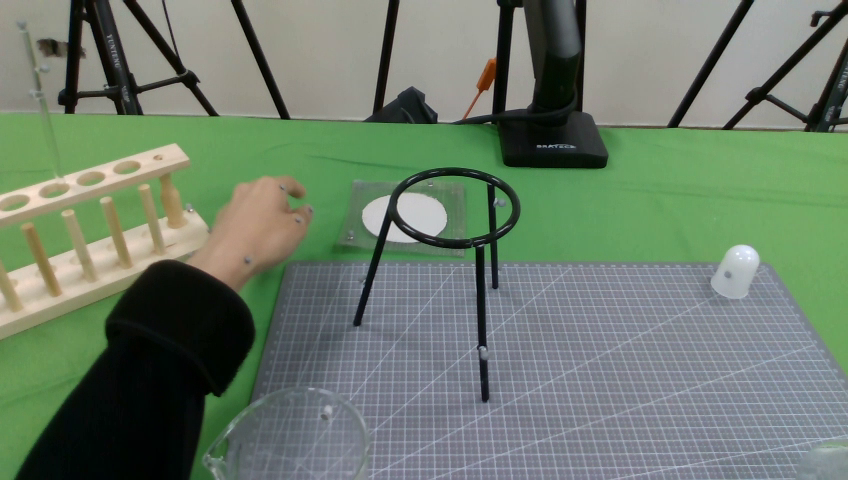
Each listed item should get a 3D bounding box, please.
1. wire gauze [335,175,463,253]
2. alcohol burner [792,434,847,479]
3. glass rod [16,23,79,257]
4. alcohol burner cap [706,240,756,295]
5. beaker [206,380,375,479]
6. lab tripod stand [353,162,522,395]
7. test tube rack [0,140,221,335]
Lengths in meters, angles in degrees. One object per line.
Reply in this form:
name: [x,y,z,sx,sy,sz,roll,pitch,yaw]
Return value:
wire gauze: [-0.022,-0.031,0.615,0.125,0.011,0.120,2,38,2]
alcohol burner: [0.254,0.134,0.335,0.078,0.120,0.077,1,37,-1]
glass rod: [-0.297,-0.071,0.486,0.008,0.201,0.008,5,32,-2]
alcohol burner cap: [0.271,0.021,0.531,0.034,0.048,0.033,1,39,-1]
beaker: [-0.067,0.137,0.330,0.084,0.101,0.073,-2,39,-3]
lab tripod stand: [0.015,0.021,0.448,0.148,0.132,0.147,0,41,0]
test tube rack: [-0.304,0.003,0.500,0.243,0.086,0.066,-25,47,-29]
